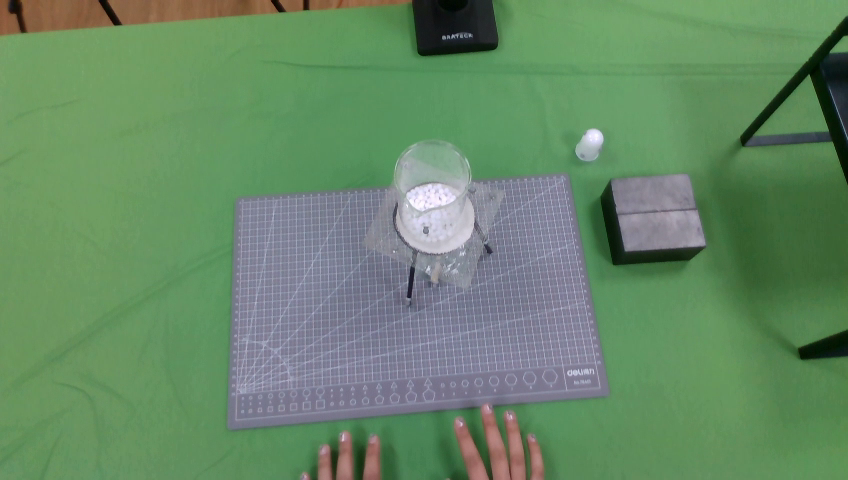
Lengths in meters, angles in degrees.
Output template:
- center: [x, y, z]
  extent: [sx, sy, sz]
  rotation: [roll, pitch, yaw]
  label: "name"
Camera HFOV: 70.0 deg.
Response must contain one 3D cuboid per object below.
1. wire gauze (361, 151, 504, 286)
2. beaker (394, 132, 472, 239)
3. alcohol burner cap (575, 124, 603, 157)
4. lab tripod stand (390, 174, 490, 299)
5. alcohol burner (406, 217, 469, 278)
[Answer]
- center: [0.011, -0.028, 0.655]
  extent: [0.125, 0.011, 0.121]
  rotation: [23, 72, 6]
  label: "wire gauze"
- center: [0.007, -0.047, 0.611]
  extent: [0.074, 0.101, 0.083]
  rotation: [19, 70, 7]
  label: "beaker"
- center: [0.225, -0.137, 0.818]
  extent: [0.034, 0.048, 0.033]
  rotation: [0, 69, 1]
  label: "alcohol burner cap"
- center: [0.013, -0.011, 0.719]
  extent: [0.148, 0.132, 0.147]
  rotation: [1, 68, -1]
  label: "lab tripod stand"
- center: [0.016, 0.003, 0.725]
  extent: [0.078, 0.120, 0.077]
  rotation: [1, 71, -1]
  label: "alcohol burner"
